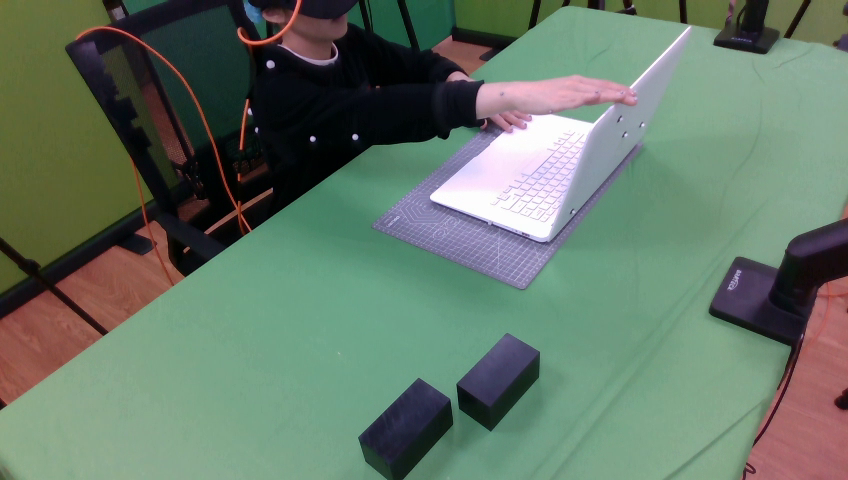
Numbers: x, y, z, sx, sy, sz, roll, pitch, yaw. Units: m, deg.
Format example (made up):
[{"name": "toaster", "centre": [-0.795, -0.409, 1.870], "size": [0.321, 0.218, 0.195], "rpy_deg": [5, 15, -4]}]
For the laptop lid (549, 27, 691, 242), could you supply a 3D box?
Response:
[{"name": "laptop lid", "centre": [0.310, -0.167, 0.948], "size": [0.013, 0.242, 0.358], "rpy_deg": [32, 52, 21]}]

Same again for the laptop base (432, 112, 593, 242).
[{"name": "laptop base", "centre": [0.208, -0.129, 1.098], "size": [0.233, 0.023, 0.355], "rpy_deg": [20, 47, 34]}]
